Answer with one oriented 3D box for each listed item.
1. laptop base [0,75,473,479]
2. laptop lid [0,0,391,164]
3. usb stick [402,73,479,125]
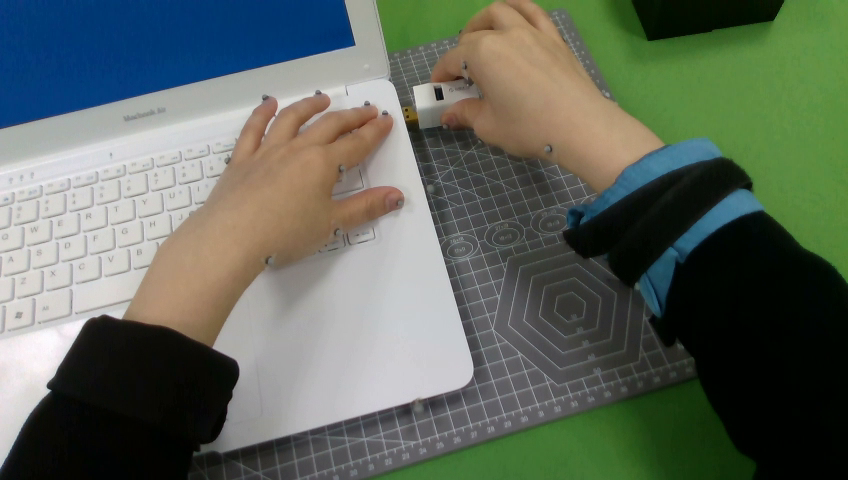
[{"bbox_3d":[-0.166,0.023,0.393,0.354,0.023,0.233,-14,67,-3],"label":"laptop base"},{"bbox_3d":[-0.213,-0.169,0.371,0.357,0.244,0.013,-15,38,-2],"label":"laptop lid"},{"bbox_3d":[0.008,-0.098,0.424,0.059,0.027,0.021,-10,64,2],"label":"usb stick"}]
